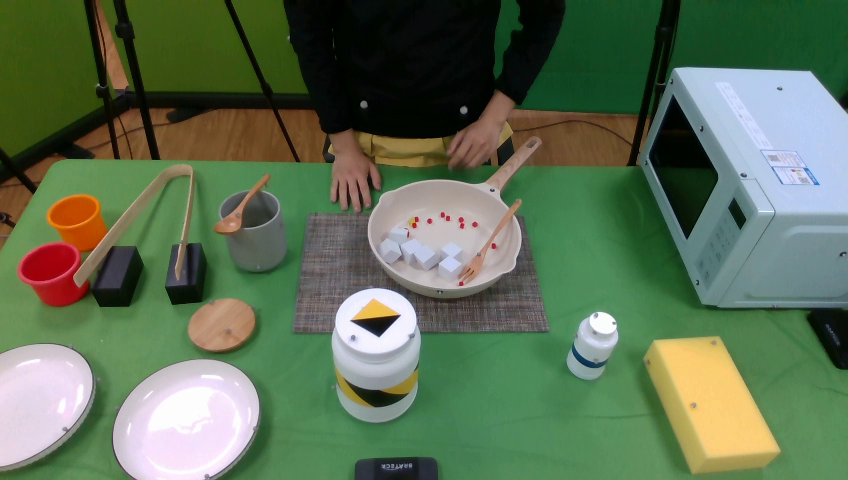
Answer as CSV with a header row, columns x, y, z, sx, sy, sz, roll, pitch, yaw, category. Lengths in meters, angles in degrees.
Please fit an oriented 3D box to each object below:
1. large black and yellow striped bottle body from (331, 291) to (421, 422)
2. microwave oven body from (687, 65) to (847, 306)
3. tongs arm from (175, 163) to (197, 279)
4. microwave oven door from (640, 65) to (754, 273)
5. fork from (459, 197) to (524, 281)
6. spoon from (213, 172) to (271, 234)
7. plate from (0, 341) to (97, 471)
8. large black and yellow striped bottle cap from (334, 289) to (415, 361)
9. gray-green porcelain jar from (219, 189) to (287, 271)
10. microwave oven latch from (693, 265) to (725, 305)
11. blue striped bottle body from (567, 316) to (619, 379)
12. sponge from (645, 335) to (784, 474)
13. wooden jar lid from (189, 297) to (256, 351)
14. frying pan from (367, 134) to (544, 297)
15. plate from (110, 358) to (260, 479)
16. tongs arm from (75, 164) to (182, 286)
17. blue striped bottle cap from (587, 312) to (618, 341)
x,y,z,sx,sy,sz,roll,pitch,yaw,category
-0.071,0.175,0.911,0.131,0.185,0.130,2,47,-2,large black and yellow striped bottle body
0.669,-0.111,1.176,0.326,0.261,0.439,0,46,-3,microwave oven body
-0.462,-0.049,1.149,0.051,0.026,0.382,-8,36,-7,tongs arm
0.523,-0.147,1.193,0.039,0.245,0.353,0,47,-3,microwave oven door
0.132,-0.004,1.158,0.028,0.019,0.207,28,75,30,fork
-0.312,-0.069,1.068,0.041,0.022,0.193,10,43,11,spoon
-0.599,0.247,0.904,0.209,0.038,0.208,2,47,-2,plate
-0.069,0.117,0.850,0.115,0.019,0.114,2,45,-2,large black and yellow striped bottle cap
-0.309,-0.014,1.113,0.106,0.127,0.105,2,46,-2,gray-green porcelain jar
0.523,0.082,1.116,0.030,0.029,0.078,2,46,-1,microwave oven latch
0.276,0.168,0.984,0.063,0.121,0.062,2,46,-2,blue striped bottle body
0.449,0.253,0.956,0.118,0.061,0.205,-4,46,-7,sponge
-0.342,0.145,1.033,0.108,0.021,0.107,3,45,-2,wooden jar lid
0.104,-0.069,1.205,0.305,0.103,0.487,32,61,23,frying pan
-0.349,0.273,0.899,0.208,0.039,0.206,2,46,-2,plate
-0.547,-0.044,1.143,0.028,0.028,0.385,-3,34,7,tongs arm
0.279,0.134,0.946,0.044,0.021,0.044,2,45,-2,blue striped bottle cap
